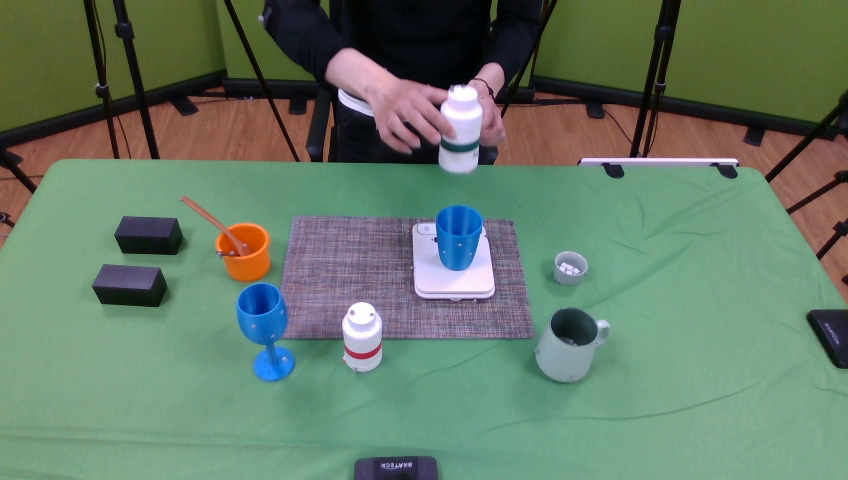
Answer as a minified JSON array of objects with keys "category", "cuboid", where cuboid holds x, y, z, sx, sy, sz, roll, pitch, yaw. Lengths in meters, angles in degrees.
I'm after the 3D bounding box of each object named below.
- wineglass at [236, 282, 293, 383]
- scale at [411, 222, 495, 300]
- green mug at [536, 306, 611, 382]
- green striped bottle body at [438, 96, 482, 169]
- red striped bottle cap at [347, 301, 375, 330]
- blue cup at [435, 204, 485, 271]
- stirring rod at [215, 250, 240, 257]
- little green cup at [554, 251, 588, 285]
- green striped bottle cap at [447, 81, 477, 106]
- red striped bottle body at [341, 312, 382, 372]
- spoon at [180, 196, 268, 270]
[{"category":"wineglass","cuboid":[-0.243,0.143,0.934,0.074,0.173,0.073,2,46,-2]},{"category":"scale","cuboid":[0.052,0.031,1.158,0.149,0.032,0.199,1,46,-4]},{"category":"green mug","cuboid":[0.250,0.167,0.996,0.125,0.105,0.092,-15,49,-18]},{"category":"green striped bottle body","cuboid":[0.053,-0.172,0.909,0.063,0.120,0.063,1,41,0]},{"category":"red striped bottle cap","cuboid":[-0.097,0.116,0.934,0.044,0.018,0.044,3,49,-3]},{"category":"blue cup","cuboid":[0.061,0.001,1.097,0.092,0.101,0.092,1,44,0]},{"category":"stirring rod","cuboid":[-0.340,0.024,1.059,0.014,0.176,0.006,16,86,-6]},{"category":"little green cup","cuboid":[0.277,0.055,1.151,0.061,0.039,0.061,1,46,-1]},{"category":"green striped bottle cap","cuboid":[0.055,-0.211,0.874,0.044,0.020,0.044,1,41,-1]},{"category":"red striped bottle body","cuboid":[-0.100,0.154,0.972,0.063,0.120,0.062,2,46,-1]},{"category":"spoon","cuboid":[-0.360,-0.014,1.095,0.021,0.194,0.041,-27,27,32]}]
